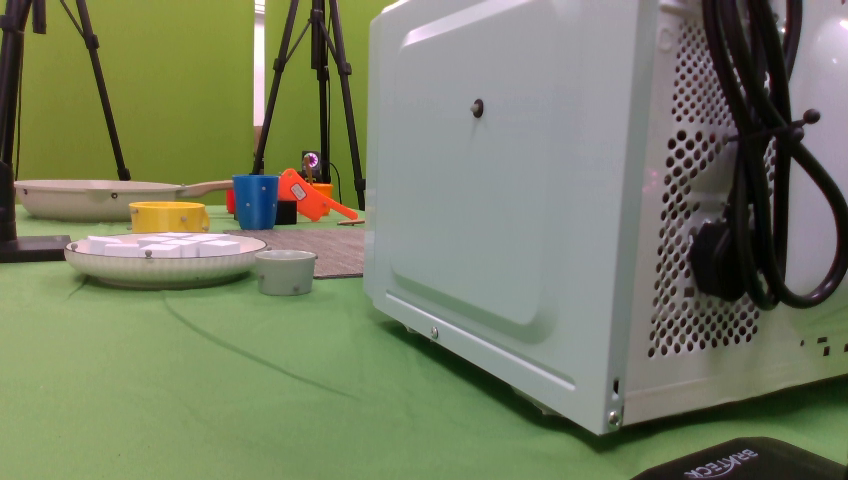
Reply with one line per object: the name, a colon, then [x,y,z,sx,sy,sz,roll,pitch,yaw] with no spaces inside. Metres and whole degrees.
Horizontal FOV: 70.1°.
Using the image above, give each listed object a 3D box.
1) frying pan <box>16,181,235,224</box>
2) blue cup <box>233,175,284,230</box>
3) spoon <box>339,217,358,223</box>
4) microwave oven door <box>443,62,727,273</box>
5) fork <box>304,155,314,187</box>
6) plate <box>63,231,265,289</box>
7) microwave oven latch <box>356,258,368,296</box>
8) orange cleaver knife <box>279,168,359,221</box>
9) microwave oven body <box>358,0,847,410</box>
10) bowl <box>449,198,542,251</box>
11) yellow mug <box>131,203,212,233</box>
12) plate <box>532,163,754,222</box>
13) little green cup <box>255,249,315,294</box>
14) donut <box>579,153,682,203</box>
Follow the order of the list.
frying pan: [-0.554,-0.096,1.265,0.490,0.102,0.305,-10,13,-24]
blue cup: [-0.314,-0.071,1.141,0.093,0.100,0.092,0,7,0]
spoon: [-0.087,-0.041,1.268,0.193,0.021,0.041,4,25,13]
microwave oven door: [0.189,-0.097,0.787,0.354,0.243,0.039,6,9,31]
fork: [-0.268,-0.134,1.446,0.028,0.018,0.207,2,-36,-1]
plate: [-0.288,0.021,0.687,0.208,0.039,0.207,2,8,0]
microwave oven latch: [-0.019,0.031,0.528,0.079,0.029,0.030,-1,7,-24]
orange cleaver knife: [-0.236,-0.084,1.333,0.212,0.077,0.012,31,-10,-32]
microwave oven body: [0.210,-0.051,0.472,0.444,0.260,0.324,-1,7,-28]
bowl: [0.114,-0.025,0.988,0.151,0.077,0.151,2,8,0]
yellow mug: [-0.356,-0.020,0.878,0.099,0.064,0.131,4,7,22]
plate: [0.210,-0.048,0.602,0.209,0.038,0.209,6,9,-1]
little green cup: [-0.144,0.032,0.627,0.061,0.038,0.061,3,6,0]
donut: [0.206,-0.060,0.606,0.099,0.048,0.099,-1,1,0]
